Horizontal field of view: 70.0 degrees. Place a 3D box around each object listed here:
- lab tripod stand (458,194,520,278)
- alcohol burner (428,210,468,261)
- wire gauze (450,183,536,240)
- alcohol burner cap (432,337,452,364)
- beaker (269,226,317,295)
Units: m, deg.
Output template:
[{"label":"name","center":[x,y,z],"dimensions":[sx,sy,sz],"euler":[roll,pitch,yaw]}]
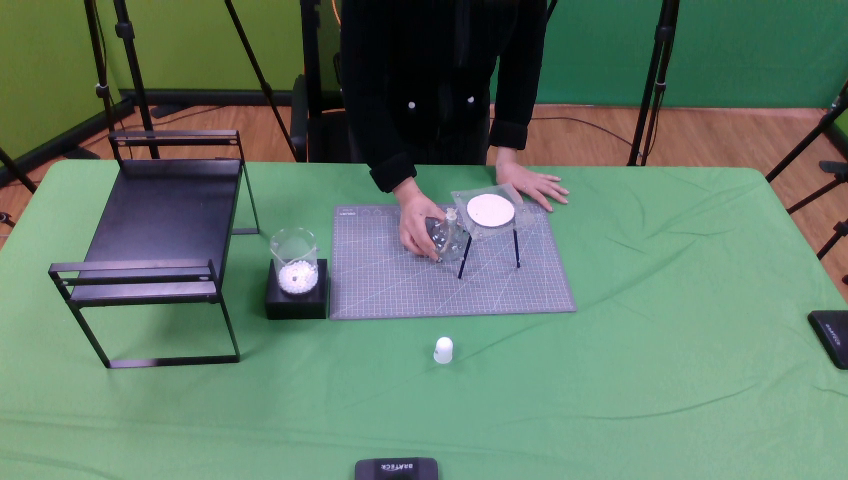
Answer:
[{"label":"lab tripod stand","center":[0.115,-0.011,1.135],"dimensions":[0.148,0.132,0.147],"euler":[1,45,-1]},{"label":"alcohol burner","center":[0.047,-0.016,1.148],"dimensions":[0.078,0.119,0.077],"euler":[4,49,-4]},{"label":"wire gauze","center":[0.122,-0.057,1.087],"dimensions":[0.121,0.011,0.124],"euler":[-12,47,-14]},{"label":"alcohol burner cap","center":[0.031,0.182,1.011],"dimensions":[0.034,0.048,0.033],"euler":[4,45,-4]},{"label":"beaker","center":[-0.218,0.040,1.020],"dimensions":[0.074,0.101,0.083],"euler":[6,47,2]}]
